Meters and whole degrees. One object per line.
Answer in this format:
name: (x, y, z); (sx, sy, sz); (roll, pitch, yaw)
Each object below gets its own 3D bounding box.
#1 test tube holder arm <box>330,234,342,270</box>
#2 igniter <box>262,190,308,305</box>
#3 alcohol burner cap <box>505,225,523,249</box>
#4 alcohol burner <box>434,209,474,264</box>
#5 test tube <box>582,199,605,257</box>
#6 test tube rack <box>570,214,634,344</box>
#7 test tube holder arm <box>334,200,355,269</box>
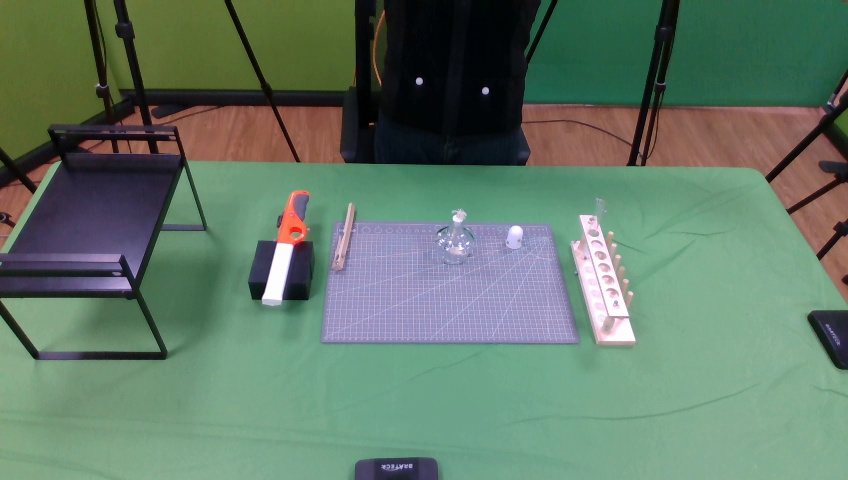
test tube holder arm: (-0.164, 0.021, 1.163); (0.010, 0.015, 0.087); (-15, 42, 23)
igniter: (-0.252, 0.004, 1.107); (0.057, 0.025, 0.275); (7, 47, -6)
alcohol burner cap: (0.180, -0.009, 1.203); (0.034, 0.048, 0.033); (2, 47, -2)
alcohol burner: (0.058, -0.011, 1.147); (0.078, 0.119, 0.077); (3, 44, -3)
test tube: (0.314, -0.019, 1.129); (0.017, 0.151, 0.017); (-1, 48, 1)
test tube rack: (0.333, 0.067, 1.116); (0.067, 0.085, 0.241); (1, 46, -4)
test tube holder arm: (-0.155, -0.013, 1.191); (0.013, 0.015, 0.177); (-15, 42, 23)
